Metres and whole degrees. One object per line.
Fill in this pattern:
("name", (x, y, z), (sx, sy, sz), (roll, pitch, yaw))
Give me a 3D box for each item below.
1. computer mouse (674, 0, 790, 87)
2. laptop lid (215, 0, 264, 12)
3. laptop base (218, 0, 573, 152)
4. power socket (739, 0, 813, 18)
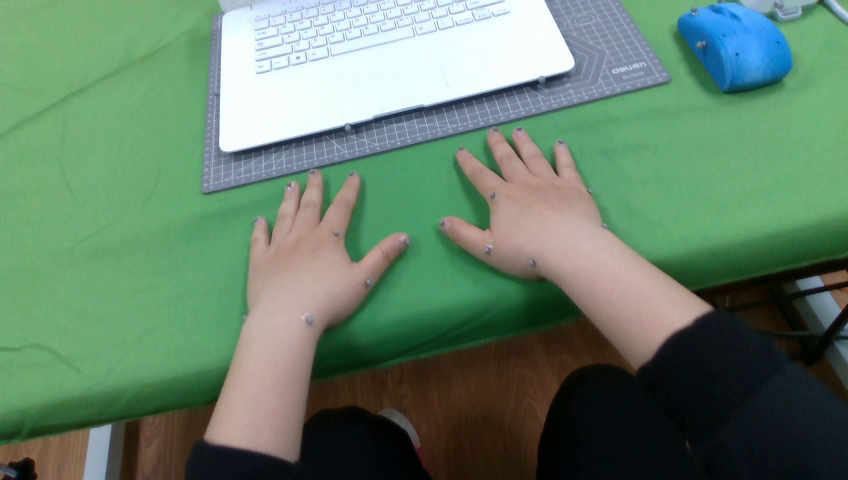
("computer mouse", (0.281, -0.189, 0.558), (0.063, 0.041, 0.116), (-14, 48, 4))
("laptop lid", (-0.090, -0.391, 0.639), (0.357, 0.244, 0.013), (-15, 41, 2))
("laptop base", (-0.046, -0.212, 0.647), (0.354, 0.023, 0.233), (-14, 57, 1))
("power socket", (0.338, -0.315, 0.640), (0.072, 0.033, 0.224), (-11, 54, 3))
